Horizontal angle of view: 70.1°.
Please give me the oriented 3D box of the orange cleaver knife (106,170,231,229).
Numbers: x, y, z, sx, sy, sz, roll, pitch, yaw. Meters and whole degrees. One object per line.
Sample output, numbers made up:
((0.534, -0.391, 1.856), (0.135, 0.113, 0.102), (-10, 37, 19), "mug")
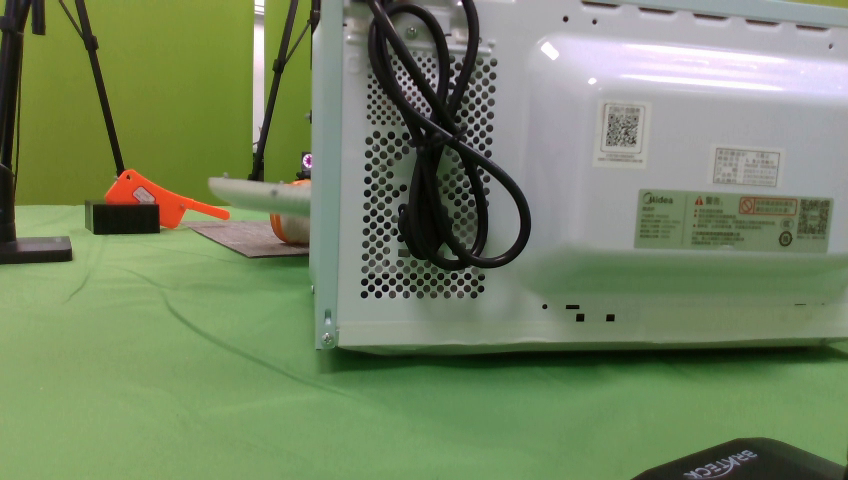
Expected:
((-0.458, -0.060, 1.097), (0.212, 0.077, 0.012), (23, -4, -38), "orange cleaver knife")

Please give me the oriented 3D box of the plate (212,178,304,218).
((-0.174, -0.052, 0.805), (0.208, 0.039, 0.207), (6, 3, 0), "plate")

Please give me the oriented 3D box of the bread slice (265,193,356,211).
((-0.150, -0.051, 0.800), (0.107, 0.018, 0.134), (3, 4, -1), "bread slice")

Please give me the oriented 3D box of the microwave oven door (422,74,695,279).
((0.159, -0.091, 0.806), (0.354, 0.243, 0.039), (7, 9, 31), "microwave oven door")

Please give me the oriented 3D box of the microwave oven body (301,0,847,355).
((0.120, -0.053, 0.535), (0.443, 0.260, 0.325), (2, 7, -11), "microwave oven body")

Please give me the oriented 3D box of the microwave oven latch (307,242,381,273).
((-0.086, 0.019, 0.656), (0.079, 0.029, 0.030), (2, 7, -10), "microwave oven latch")
